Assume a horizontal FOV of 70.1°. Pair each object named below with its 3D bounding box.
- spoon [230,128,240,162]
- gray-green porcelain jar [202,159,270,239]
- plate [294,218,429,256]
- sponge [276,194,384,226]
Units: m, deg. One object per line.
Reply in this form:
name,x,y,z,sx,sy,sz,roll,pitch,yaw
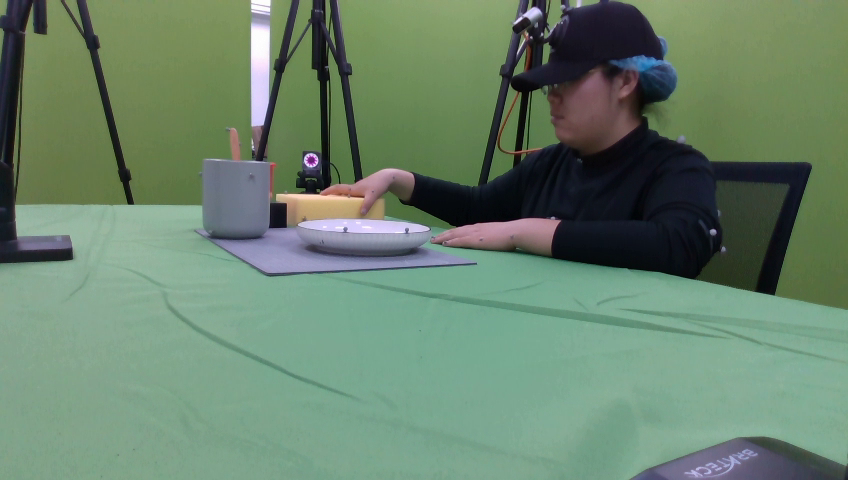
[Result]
spoon,-0.314,-0.108,1.025,0.042,0.193,0.021,-5,-19,-16
gray-green porcelain jar,-0.310,-0.068,0.999,0.106,0.126,0.106,3,8,0
plate,-0.096,-0.005,0.936,0.208,0.039,0.207,3,7,0
sponge,-0.203,-0.066,1.312,0.208,0.061,0.117,-3,9,-35
